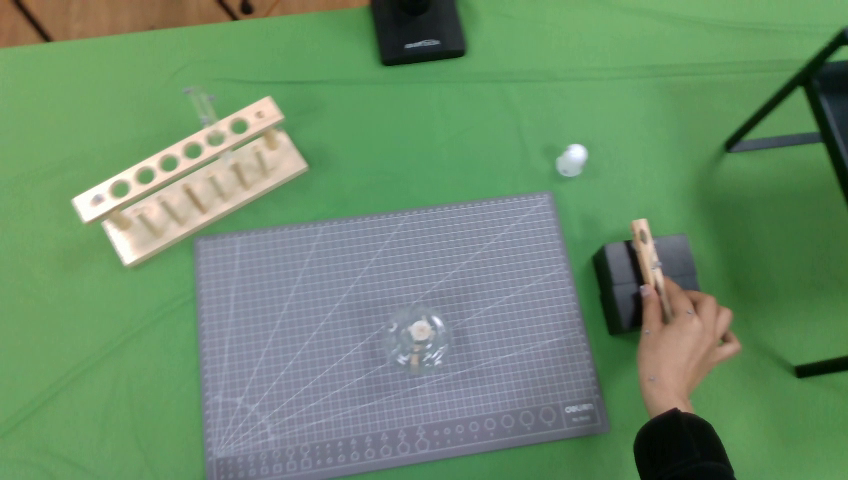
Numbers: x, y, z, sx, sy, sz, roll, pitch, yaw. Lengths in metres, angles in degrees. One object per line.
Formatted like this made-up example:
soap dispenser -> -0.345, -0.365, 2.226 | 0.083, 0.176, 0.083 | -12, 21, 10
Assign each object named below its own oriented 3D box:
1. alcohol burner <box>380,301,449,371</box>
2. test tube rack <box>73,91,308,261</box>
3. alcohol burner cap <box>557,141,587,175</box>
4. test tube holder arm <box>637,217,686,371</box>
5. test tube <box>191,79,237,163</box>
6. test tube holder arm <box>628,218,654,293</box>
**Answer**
alcohol burner -> -0.009, 0.101, 0.657 | 0.078, 0.119, 0.077 | 1, 73, -4
test tube rack -> -0.264, -0.074, 0.713 | 0.242, 0.085, 0.066 | -31, 76, -12
alcohol burner cap -> 0.191, -0.107, 0.773 | 0.034, 0.048, 0.033 | 1, 72, -1
test tube holder arm -> 0.266, 0.059, 0.685 | 0.013, 0.015, 0.177 | -13, 76, 3
test tube -> -0.232, -0.128, 0.680 | 0.017, 0.151, 0.017 | 2, 67, -3
test tube holder arm -> 0.252, 0.018, 0.696 | 0.010, 0.015, 0.087 | -12, 76, 4
